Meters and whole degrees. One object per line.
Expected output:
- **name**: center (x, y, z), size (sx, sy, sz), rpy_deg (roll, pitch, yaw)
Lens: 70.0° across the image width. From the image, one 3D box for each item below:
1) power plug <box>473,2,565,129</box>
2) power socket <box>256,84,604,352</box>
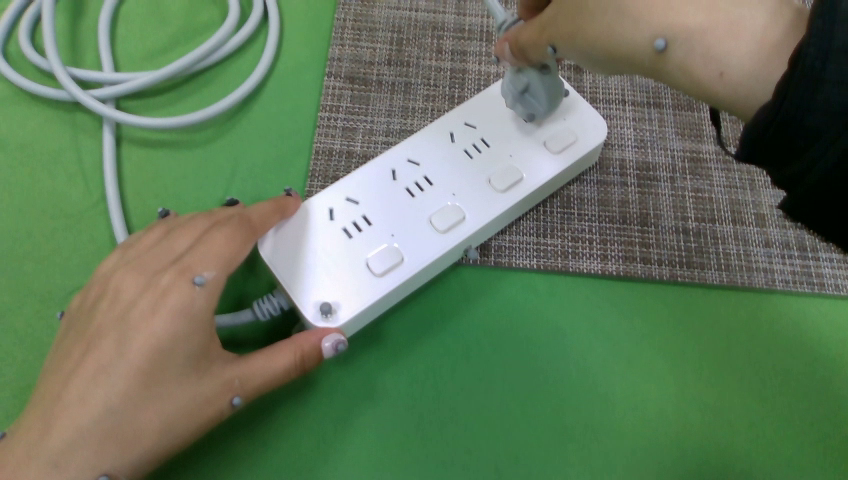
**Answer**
- **power plug**: center (0.054, -0.097, 0.348), size (0.035, 0.053, 0.072), rpy_deg (-22, 77, -15)
- **power socket**: center (0.009, -0.024, 0.350), size (0.227, 0.033, 0.071), rpy_deg (-34, 71, -16)
